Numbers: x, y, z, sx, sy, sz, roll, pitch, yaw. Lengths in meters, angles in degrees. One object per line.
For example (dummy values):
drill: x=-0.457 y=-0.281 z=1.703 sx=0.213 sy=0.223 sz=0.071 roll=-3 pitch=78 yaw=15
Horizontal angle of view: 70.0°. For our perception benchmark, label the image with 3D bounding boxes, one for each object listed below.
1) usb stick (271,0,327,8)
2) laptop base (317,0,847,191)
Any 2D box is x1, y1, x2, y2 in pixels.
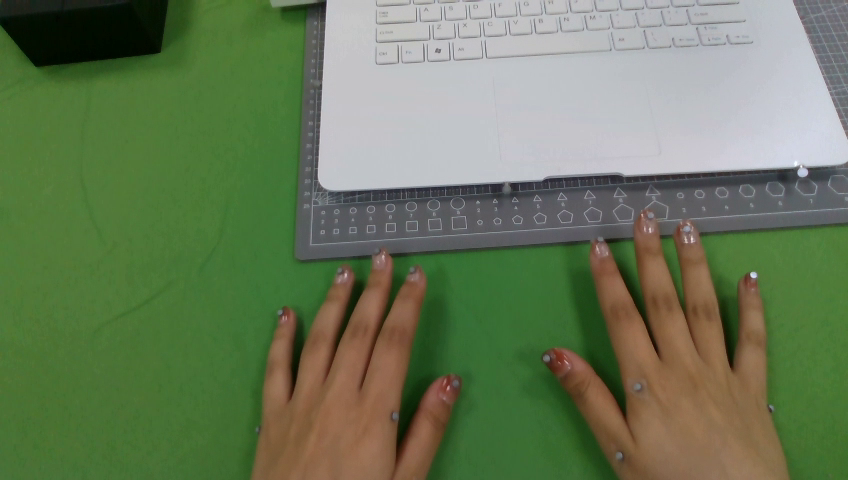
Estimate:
usb stick: x=-0.094 y=-0.203 z=0.481 sx=0.059 sy=0.027 sz=0.021 roll=-5 pitch=61 yaw=1
laptop base: x=0.101 y=-0.143 z=0.452 sx=0.354 sy=0.023 sz=0.233 roll=-3 pitch=66 yaw=2
